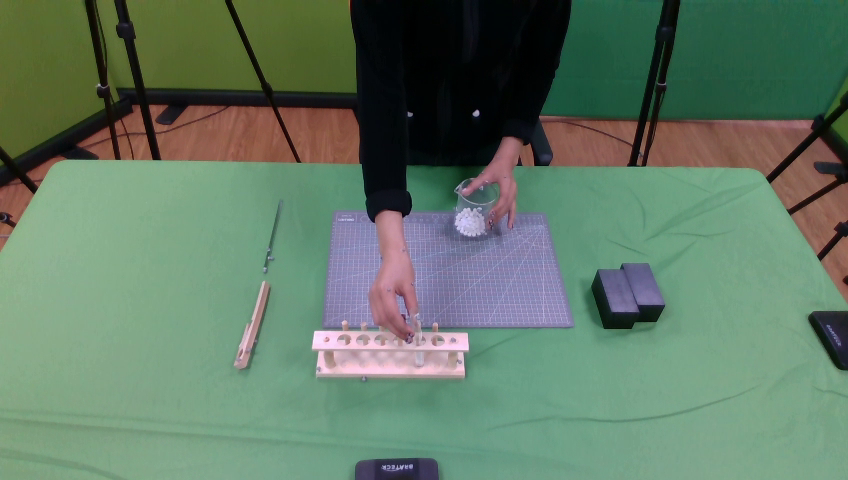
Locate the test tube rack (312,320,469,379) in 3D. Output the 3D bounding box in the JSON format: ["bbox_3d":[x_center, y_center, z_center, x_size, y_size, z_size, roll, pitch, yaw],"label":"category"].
[{"bbox_3d":[-0.054,0.173,0.984,0.242,0.085,0.066,1,46,-3],"label":"test tube rack"}]

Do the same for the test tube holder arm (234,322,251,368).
[{"bbox_3d":[-0.299,0.173,1.013,0.010,0.015,0.087,-17,41,22],"label":"test tube holder arm"}]

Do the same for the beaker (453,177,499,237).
[{"bbox_3d":[0.095,-0.061,1.179,0.084,0.101,0.073,6,47,-2],"label":"beaker"}]

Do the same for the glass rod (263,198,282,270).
[{"bbox_3d":[-0.299,-0.016,1.203,0.008,0.008,0.198,1,46,-2],"label":"glass rod"}]

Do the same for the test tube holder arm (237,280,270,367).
[{"bbox_3d":[-0.290,0.140,1.042,0.013,0.015,0.177,-17,41,22],"label":"test tube holder arm"}]

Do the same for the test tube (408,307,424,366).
[{"bbox_3d":[-0.011,0.152,0.938,0.017,0.151,0.017,-2,48,2],"label":"test tube"}]
